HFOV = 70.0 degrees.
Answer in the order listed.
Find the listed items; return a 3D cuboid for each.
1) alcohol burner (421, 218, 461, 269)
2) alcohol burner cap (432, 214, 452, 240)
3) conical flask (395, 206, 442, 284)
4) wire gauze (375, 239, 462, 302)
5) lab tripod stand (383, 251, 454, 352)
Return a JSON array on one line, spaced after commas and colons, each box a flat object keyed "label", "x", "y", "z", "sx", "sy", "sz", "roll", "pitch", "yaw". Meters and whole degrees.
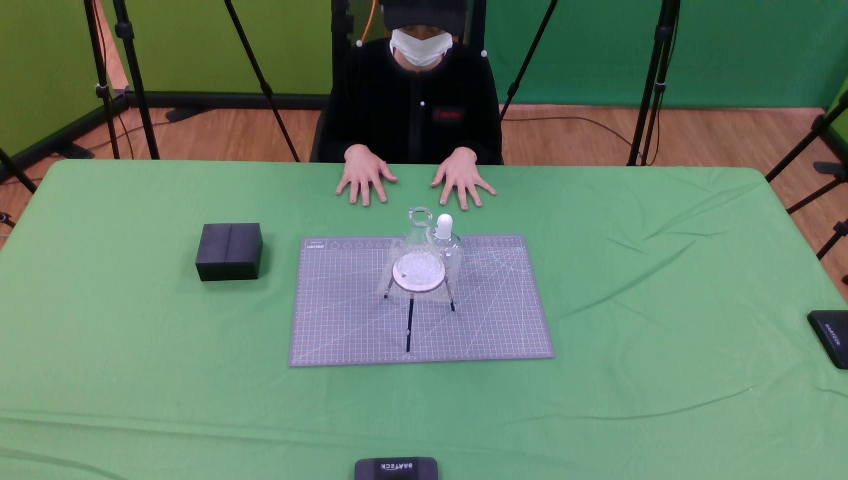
[{"label": "alcohol burner", "x": 0.033, "y": -0.001, "z": 1.135, "sx": 0.078, "sy": 0.119, "sz": 0.077, "roll": 3, "pitch": 48, "yaw": -3}, {"label": "alcohol burner cap", "x": 0.035, "y": -0.027, "z": 1.110, "sx": 0.034, "sy": 0.048, "sz": 0.033, "roll": 7, "pitch": 42, "yaw": -6}, {"label": "conical flask", "x": -0.007, "y": 0.005, "z": 0.937, "sx": 0.075, "sy": 0.122, "sz": 0.075, "roll": 2, "pitch": 45, "yaw": -1}, {"label": "wire gauze", "x": -0.006, "y": 0.049, "z": 0.977, "sx": 0.121, "sy": 0.011, "sz": 0.124, "roll": 10, "pitch": 44, "yaw": 5}, {"label": "lab tripod stand", "x": -0.015, "y": 0.094, "z": 1.025, "sx": 0.148, "sy": 0.132, "sz": 0.147, "roll": 1, "pitch": 46, "yaw": -1}]
